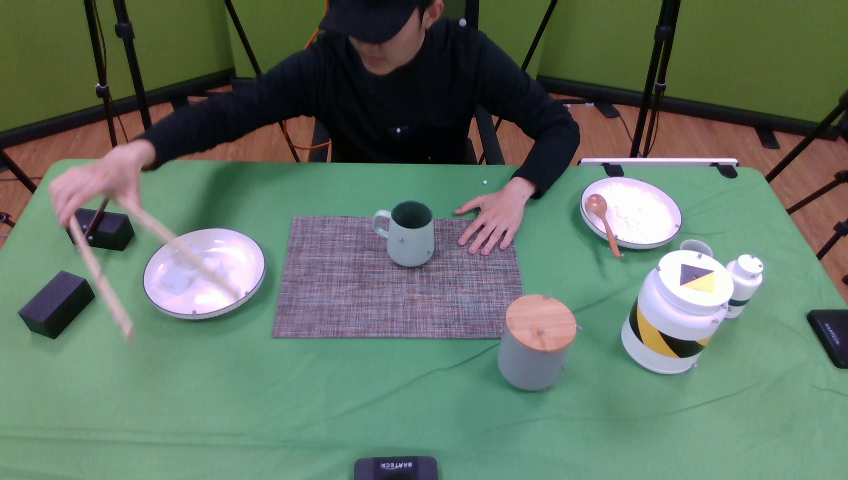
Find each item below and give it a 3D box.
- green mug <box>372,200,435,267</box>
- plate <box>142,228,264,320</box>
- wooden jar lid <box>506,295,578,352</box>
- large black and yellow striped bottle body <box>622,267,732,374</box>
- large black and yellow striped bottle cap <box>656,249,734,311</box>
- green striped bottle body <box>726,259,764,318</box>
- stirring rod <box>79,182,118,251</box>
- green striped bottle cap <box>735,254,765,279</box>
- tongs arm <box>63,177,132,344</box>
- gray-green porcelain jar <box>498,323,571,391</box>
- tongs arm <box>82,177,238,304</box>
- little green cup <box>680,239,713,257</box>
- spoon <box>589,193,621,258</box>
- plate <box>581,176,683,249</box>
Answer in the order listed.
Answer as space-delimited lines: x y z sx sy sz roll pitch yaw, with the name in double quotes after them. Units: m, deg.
-0.040 -0.016 1.146 0.125 0.105 0.092 17 48 13 "green mug"
-0.395 0.064 1.095 0.208 0.039 0.206 2 46 -2 "plate"
0.179 0.130 0.925 0.108 0.021 0.107 2 43 -2 "wooden jar lid"
0.415 0.119 0.997 0.131 0.185 0.130 2 46 -2 "large black and yellow striped bottle body"
0.419 0.061 0.938 0.115 0.019 0.114 2 47 -2 "large black and yellow striped bottle cap"
0.563 0.081 1.089 0.063 0.120 0.063 2 46 -2 "green striped bottle body"
-0.605 -0.047 1.131 0.006 0.014 0.175 0 47 1 "stirring rod"
0.566 0.046 1.051 0.044 0.020 0.044 0 45 0 "green striped bottle cap"
-0.450 0.013 0.848 0.051 0.026 0.382 -21 44 -34 "tongs arm"
0.176 0.172 0.971 0.106 0.127 0.105 2 46 -2 "gray-green porcelain jar"
-0.395 -0.009 0.893 0.385 0.028 0.028 31 45 28 "tongs arm"
0.530 0.033 1.189 0.061 0.039 0.061 2 48 -2 "little green cup"
0.367 -0.032 1.220 0.041 0.022 0.192 1 38 -1 "spoon"
0.430 -0.054 1.267 0.209 0.038 0.208 2 46 -2 "plate"
